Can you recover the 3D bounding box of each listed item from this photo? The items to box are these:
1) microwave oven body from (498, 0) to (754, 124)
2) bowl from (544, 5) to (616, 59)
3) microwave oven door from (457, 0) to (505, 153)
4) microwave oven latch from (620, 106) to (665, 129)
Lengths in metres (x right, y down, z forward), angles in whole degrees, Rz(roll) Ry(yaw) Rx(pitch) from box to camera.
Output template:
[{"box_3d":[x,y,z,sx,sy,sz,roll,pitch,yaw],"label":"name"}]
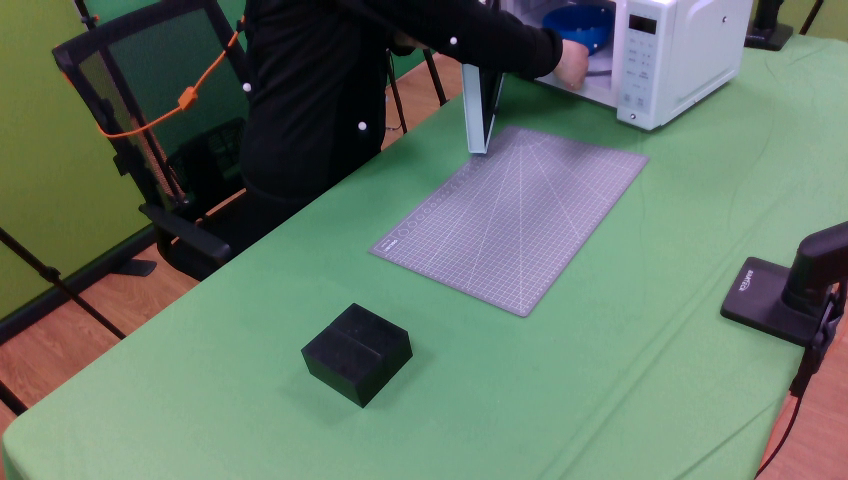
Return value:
[{"box_3d":[0.402,-0.458,1.259,0.327,0.261,0.437,-33,45,-24],"label":"microwave oven body"},{"box_3d":[0.332,-0.441,1.302,0.151,0.077,0.150,-3,39,3],"label":"bowl"},{"box_3d":[0.120,-0.373,1.206,0.039,0.245,0.355,2,41,14],"label":"microwave oven door"},{"box_3d":[0.413,-0.237,1.146,0.030,0.029,0.078,-32,44,-23],"label":"microwave oven latch"}]
